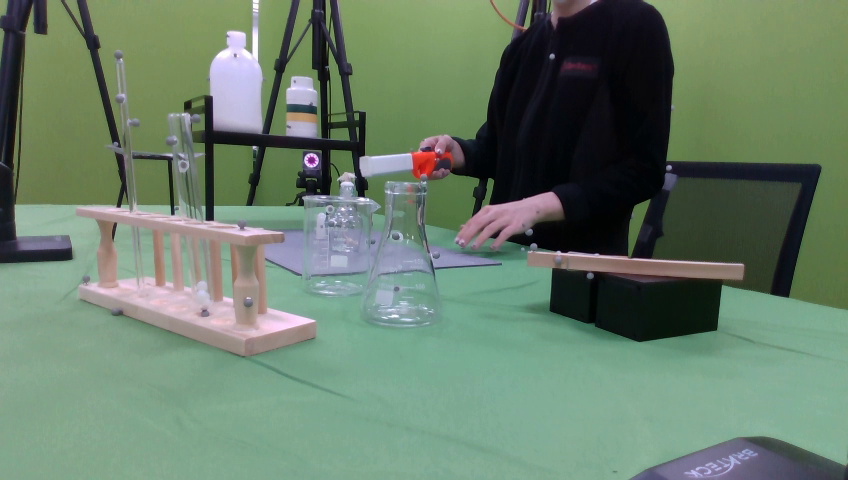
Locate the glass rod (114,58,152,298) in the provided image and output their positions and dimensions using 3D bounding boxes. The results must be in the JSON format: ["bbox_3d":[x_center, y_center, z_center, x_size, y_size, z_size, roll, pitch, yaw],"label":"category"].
[{"bbox_3d":[-0.236,-0.044,0.492,0.008,0.199,0.008,0,15,0],"label":"glass rod"}]

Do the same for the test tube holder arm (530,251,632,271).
[{"bbox_3d":[0.139,0.019,0.538,0.087,0.015,0.010,3,7,13],"label":"test tube holder arm"}]

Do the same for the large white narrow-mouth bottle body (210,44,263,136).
[{"bbox_3d":[-0.369,-0.306,1.194,0.102,0.194,0.102,3,8,0],"label":"large white narrow-mouth bottle body"}]

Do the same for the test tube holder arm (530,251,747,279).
[{"bbox_3d":[0.182,0.022,0.523,0.178,0.015,0.013,3,7,12],"label":"test tube holder arm"}]

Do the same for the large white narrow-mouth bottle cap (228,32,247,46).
[{"bbox_3d":[-0.364,-0.391,1.180,0.038,0.024,0.037,3,8,0],"label":"large white narrow-mouth bottle cap"}]

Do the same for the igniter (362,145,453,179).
[{"bbox_3d":[-0.018,-0.131,1.029,0.025,0.057,0.278,0,9,29],"label":"igniter"}]

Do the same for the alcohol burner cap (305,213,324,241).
[{"bbox_3d":[-0.185,-0.023,1.027,0.034,0.048,0.034,3,6,0],"label":"alcohol burner cap"}]

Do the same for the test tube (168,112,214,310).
[{"bbox_3d":[-0.175,-0.020,0.455,0.017,0.150,0.017,-4,9,1],"label":"test tube"}]

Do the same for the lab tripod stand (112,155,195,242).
[{"bbox_3d":[-0.405,-0.064,0.931,0.148,0.131,0.148,1,6,0],"label":"lab tripod stand"}]

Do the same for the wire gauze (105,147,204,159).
[{"bbox_3d":[-0.407,-0.131,0.928,0.125,0.011,0.121,2,6,-11],"label":"wire gauze"}]

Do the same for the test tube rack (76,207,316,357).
[{"bbox_3d":[-0.196,0.023,0.499,0.241,0.085,0.067,8,9,36],"label":"test tube rack"}]

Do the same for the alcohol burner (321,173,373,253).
[{"bbox_3d":[-0.115,-0.041,0.905,0.078,0.119,0.078,1,6,0],"label":"alcohol burner"}]

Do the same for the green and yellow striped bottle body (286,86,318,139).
[{"bbox_3d":[-0.251,-0.270,1.245,0.063,0.119,0.063,2,7,0],"label":"green and yellow striped bottle body"}]

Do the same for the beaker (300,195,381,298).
[{"bbox_3d":[-0.087,0.006,0.626,0.084,0.100,0.074,1,8,-17],"label":"beaker"}]

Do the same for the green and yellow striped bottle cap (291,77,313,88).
[{"bbox_3d":[-0.249,-0.321,1.237,0.045,0.020,0.045,3,5,0],"label":"green and yellow striped bottle cap"}]

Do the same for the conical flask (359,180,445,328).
[{"bbox_3d":[-0.017,0.010,0.522,0.075,0.122,0.075,2,7,0],"label":"conical flask"}]
